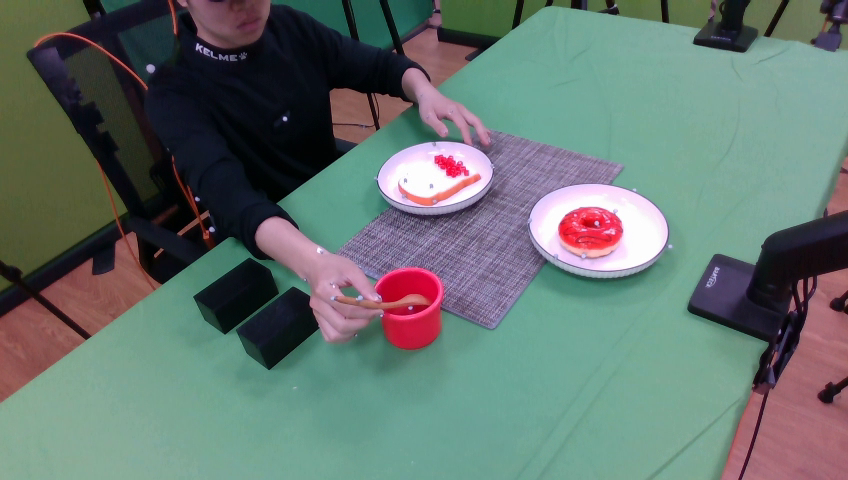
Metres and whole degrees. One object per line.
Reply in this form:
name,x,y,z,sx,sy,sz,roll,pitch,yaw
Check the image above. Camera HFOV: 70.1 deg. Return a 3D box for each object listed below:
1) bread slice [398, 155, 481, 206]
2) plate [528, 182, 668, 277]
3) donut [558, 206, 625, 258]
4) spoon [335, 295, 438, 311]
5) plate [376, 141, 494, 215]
bread slice,0.021,-0.106,1.077,0.132,0.019,0.104,-31,46,-29
plate,0.264,-0.014,0.933,0.207,0.039,0.206,-3,42,3
donut,0.254,-0.015,0.917,0.099,0.048,0.098,-5,41,5
spoon,-0.043,0.082,0.771,0.041,0.021,0.195,19,7,35
plate,0.021,-0.106,1.073,0.209,0.038,0.208,-4,40,4
